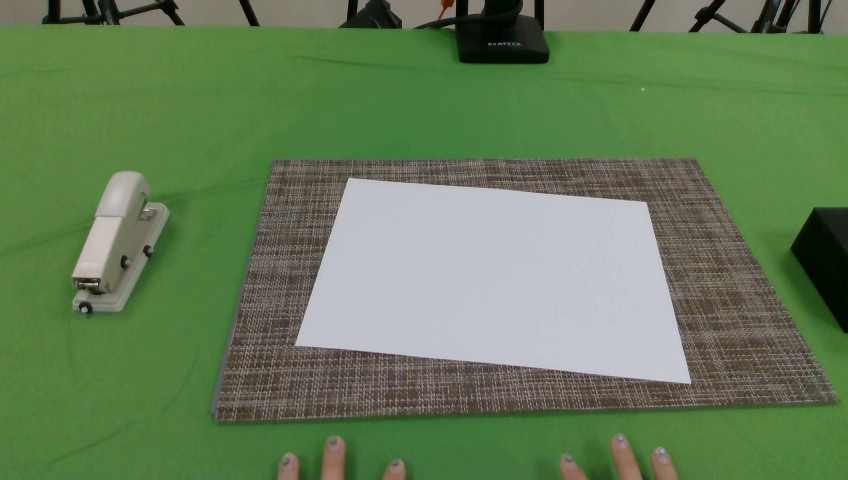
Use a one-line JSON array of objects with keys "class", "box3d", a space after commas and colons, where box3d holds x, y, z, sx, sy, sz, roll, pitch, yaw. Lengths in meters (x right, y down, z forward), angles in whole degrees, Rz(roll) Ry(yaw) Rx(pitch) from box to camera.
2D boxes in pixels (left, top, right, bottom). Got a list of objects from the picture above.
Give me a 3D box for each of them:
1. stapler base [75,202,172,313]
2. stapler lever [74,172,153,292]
[{"class": "stapler base", "box3d": [-0.259, 0.006, 0.524, 0.041, 0.024, 0.129, 1, 46, 1]}, {"class": "stapler lever", "box3d": [-0.258, -0.010, 0.506, 0.027, 0.040, 0.117, 1, 45, 1]}]
